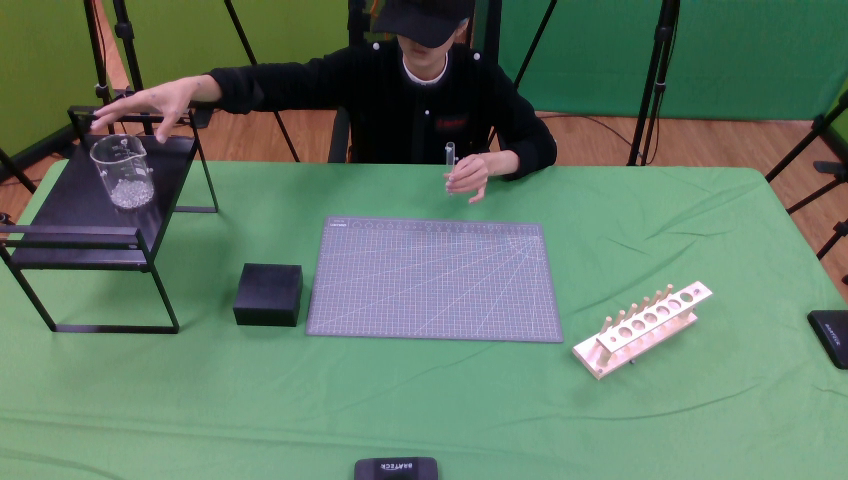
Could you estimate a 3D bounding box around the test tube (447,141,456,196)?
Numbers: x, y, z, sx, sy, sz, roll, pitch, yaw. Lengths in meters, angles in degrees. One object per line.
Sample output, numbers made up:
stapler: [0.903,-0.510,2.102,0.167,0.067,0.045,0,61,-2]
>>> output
test tube: [0.053,-0.135,1.167,0.017,0.151,0.017,-1,57,2]

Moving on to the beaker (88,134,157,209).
beaker: [-0.470,-0.106,0.961,0.084,0.101,0.073,4,46,0]

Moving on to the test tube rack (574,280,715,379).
test tube rack: [0.378,0.140,1.038,0.242,0.085,0.066,-23,51,-23]
